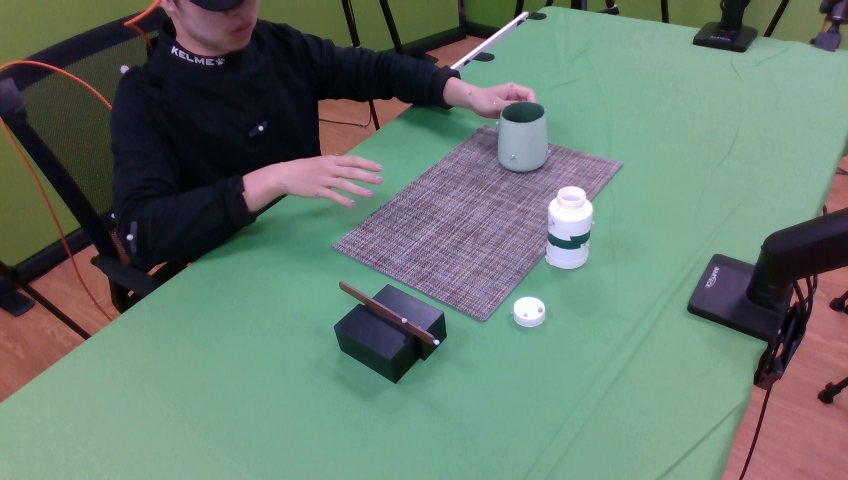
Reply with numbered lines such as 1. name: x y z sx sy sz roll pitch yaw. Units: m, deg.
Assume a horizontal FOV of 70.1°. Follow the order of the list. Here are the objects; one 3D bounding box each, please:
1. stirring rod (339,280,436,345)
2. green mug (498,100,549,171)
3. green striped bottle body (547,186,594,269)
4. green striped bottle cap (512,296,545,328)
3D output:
1. stirring rod: -0.052 0.093 0.795 0.174 0.014 0.006 27 47 33
2. green mug: 0.182 -0.197 1.100 0.092 0.105 0.125 3 42 12
3. green striped bottle body: 0.214 -0.020 0.886 0.063 0.120 0.063 -4 41 4
4. green striped bottle cap: 0.144 0.099 0.837 0.044 0.020 0.044 -2 45 3
